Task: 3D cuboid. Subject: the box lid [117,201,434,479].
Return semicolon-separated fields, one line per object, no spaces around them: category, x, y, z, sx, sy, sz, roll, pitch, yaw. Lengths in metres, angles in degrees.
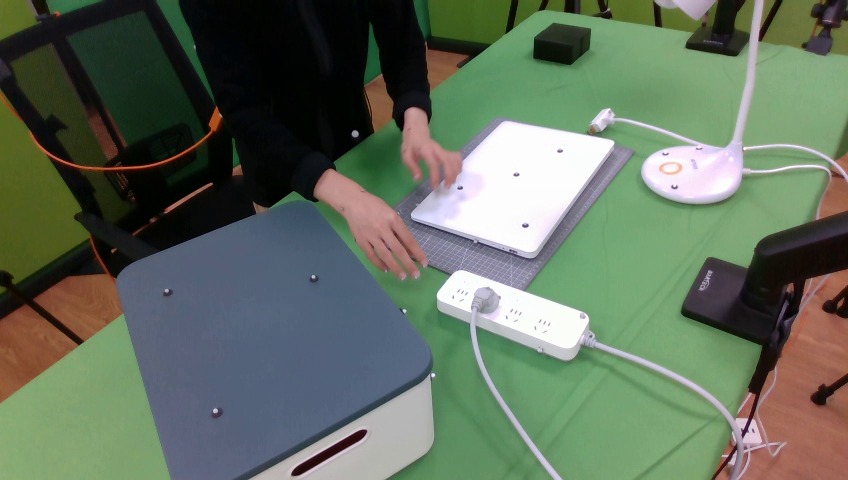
box lid;-0.182;0.087;0.675;0.264;0.015;0.368;-25;42;-20

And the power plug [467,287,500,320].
power plug;0.073;0.092;0.814;0.035;0.053;0.073;29;54;34

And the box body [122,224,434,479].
box body;-0.175;0.142;0.725;0.255;0.161;0.360;-25;43;-20

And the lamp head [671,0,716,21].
lamp head;0.375;-0.373;0.807;0.122;0.113;0.112;-40;27;32

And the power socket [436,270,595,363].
power socket;0.119;0.101;0.832;0.225;0.033;0.072;19;48;27

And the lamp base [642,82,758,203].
lamp base;0.464;-0.174;0.992;0.179;0.181;0.159;-5;41;-1

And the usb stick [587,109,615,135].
usb stick;0.344;-0.229;1.184;0.059;0.021;0.027;-47;21;-8

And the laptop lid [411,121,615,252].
laptop lid;0.164;-0.112;1.068;0.240;0.013;0.357;19;46;31

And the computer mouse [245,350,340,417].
computer mouse;-0.164;0.173;0.754;0.118;0.041;0.062;-18;33;-18

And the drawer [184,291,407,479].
drawer;-0.155;0.180;0.720;0.195;0.073;0.210;-27;40;-21

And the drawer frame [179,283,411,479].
drawer frame;-0.155;0.179;0.727;0.202;0.083;0.211;-28;49;-20

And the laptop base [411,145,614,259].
laptop base;0.167;-0.102;1.075;0.234;0.023;0.355;17;45;30
